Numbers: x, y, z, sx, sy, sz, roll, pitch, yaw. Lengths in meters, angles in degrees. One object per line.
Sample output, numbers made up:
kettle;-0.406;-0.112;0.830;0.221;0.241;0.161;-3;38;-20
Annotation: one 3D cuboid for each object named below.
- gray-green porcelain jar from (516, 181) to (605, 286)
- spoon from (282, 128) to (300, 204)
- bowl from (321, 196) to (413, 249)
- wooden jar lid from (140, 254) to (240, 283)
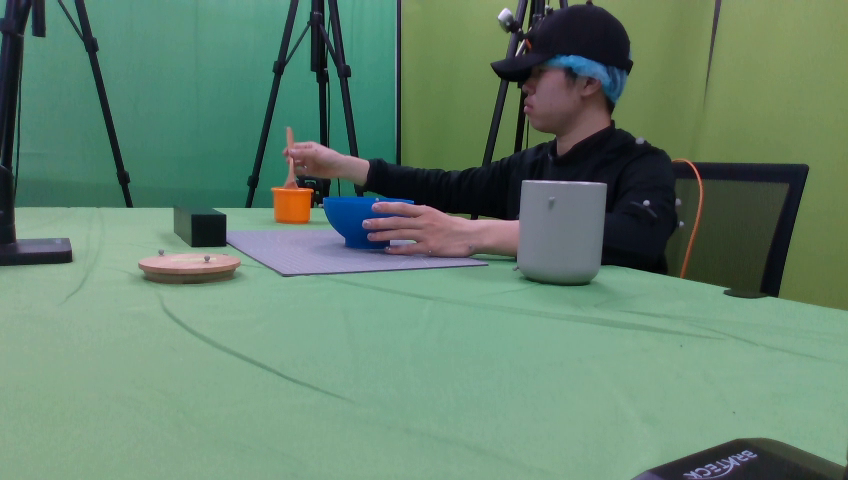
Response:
gray-green porcelain jar;0.171;-0.010;0.768;0.106;0.126;0.106;2;7;0
spoon;-0.300;-0.168;1.363;0.042;0.193;0.021;6;-20;-30
bowl;-0.094;-0.029;0.992;0.151;0.077;0.151;3;7;0
wooden jar lid;-0.269;0.032;0.698;0.108;0.020;0.108;2;5;0
